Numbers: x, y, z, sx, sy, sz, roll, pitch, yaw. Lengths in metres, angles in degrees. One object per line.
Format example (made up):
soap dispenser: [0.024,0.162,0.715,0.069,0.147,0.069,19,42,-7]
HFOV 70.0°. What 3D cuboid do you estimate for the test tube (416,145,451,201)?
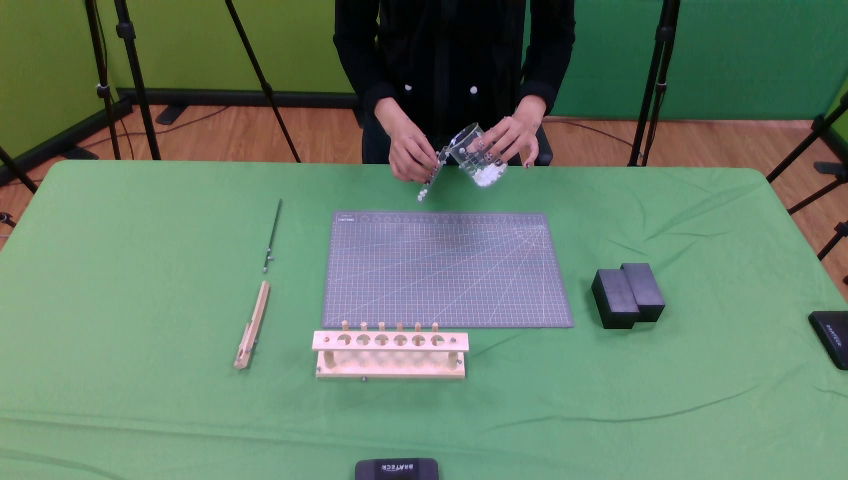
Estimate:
test tube: [0.016,-0.125,1.161,0.017,0.150,0.017,13,49,-16]

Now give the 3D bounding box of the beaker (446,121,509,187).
beaker: [0.096,-0.151,1.094,0.100,0.084,0.074,48,43,-16]

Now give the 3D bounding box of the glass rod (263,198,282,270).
glass rod: [-0.299,-0.017,1.202,0.008,0.008,0.198,1,46,-2]

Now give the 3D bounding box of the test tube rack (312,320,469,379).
test tube rack: [-0.054,0.173,0.984,0.242,0.085,0.066,1,46,-3]

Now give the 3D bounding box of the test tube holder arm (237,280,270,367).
test tube holder arm: [-0.291,0.140,1.042,0.013,0.015,0.177,-17,41,21]

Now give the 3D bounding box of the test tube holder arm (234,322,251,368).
test tube holder arm: [-0.299,0.173,1.013,0.010,0.015,0.087,-17,41,22]
